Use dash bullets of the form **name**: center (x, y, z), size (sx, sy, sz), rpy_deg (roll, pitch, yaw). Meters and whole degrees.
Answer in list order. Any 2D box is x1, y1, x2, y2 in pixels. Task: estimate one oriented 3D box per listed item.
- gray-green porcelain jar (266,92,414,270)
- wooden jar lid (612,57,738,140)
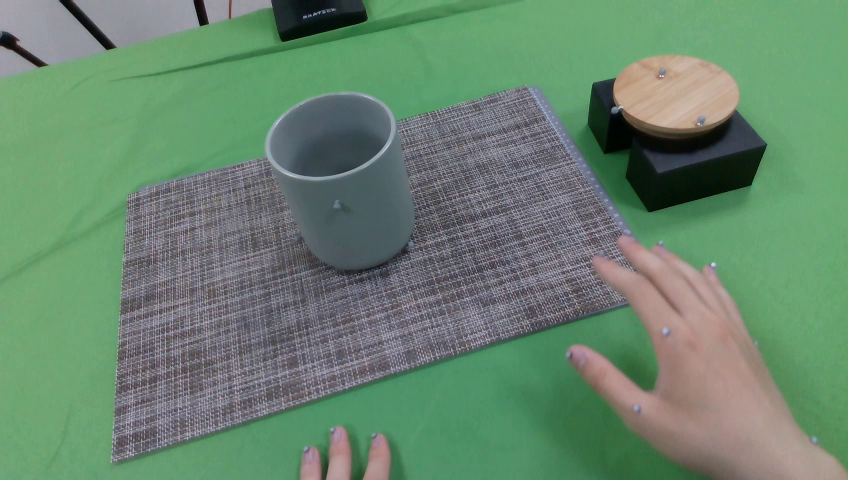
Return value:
- **gray-green porcelain jar**: center (-0.065, -0.044, 0.522), size (0.106, 0.128, 0.105), rpy_deg (-4, 50, 5)
- **wooden jar lid**: center (0.228, -0.130, 0.557), size (0.108, 0.021, 0.107), rpy_deg (-4, 52, 6)
